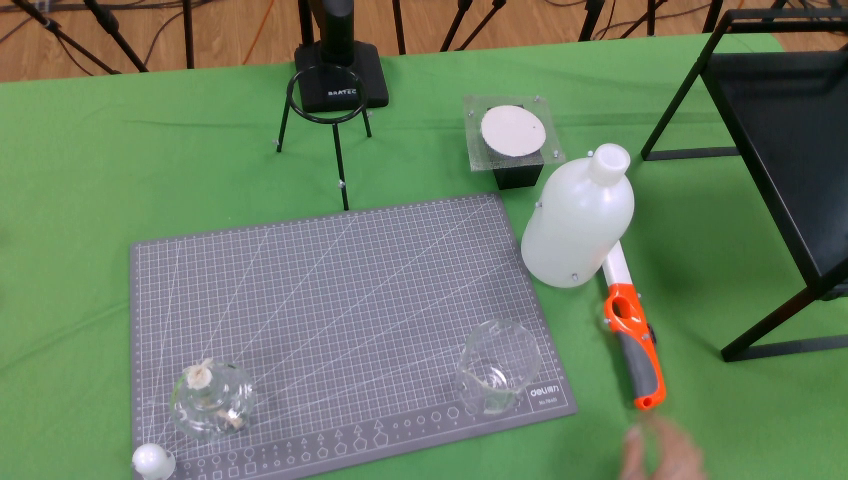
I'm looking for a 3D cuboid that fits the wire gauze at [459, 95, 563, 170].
[{"bbox_3d":[0.109,-0.142,0.785,0.122,0.011,0.124,-2,59,-8],"label":"wire gauze"}]

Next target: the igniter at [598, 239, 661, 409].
[{"bbox_3d":[0.232,0.064,0.723,0.057,0.025,0.274,5,58,-19],"label":"igniter"}]

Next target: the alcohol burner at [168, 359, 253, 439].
[{"bbox_3d":[-0.202,0.143,0.568,0.078,0.120,0.077,4,57,-6],"label":"alcohol burner"}]

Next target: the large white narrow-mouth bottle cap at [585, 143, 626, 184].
[{"bbox_3d":[0.179,-0.076,0.602,0.038,0.024,0.037,3,59,-5],"label":"large white narrow-mouth bottle cap"}]

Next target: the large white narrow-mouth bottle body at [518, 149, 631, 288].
[{"bbox_3d":[0.172,-0.030,0.674,0.102,0.196,0.101,3,59,-4],"label":"large white narrow-mouth bottle body"}]

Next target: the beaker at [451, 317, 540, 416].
[{"bbox_3d":[0.065,0.134,0.615,0.084,0.101,0.073,-12,61,-13],"label":"beaker"}]

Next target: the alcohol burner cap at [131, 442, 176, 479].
[{"bbox_3d":[-0.255,0.206,0.565,0.034,0.048,0.033,3,60,-4],"label":"alcohol burner cap"}]

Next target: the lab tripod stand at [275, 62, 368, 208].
[{"bbox_3d":[-0.116,-0.132,0.735,0.149,0.132,0.147,4,59,-7],"label":"lab tripod stand"}]
